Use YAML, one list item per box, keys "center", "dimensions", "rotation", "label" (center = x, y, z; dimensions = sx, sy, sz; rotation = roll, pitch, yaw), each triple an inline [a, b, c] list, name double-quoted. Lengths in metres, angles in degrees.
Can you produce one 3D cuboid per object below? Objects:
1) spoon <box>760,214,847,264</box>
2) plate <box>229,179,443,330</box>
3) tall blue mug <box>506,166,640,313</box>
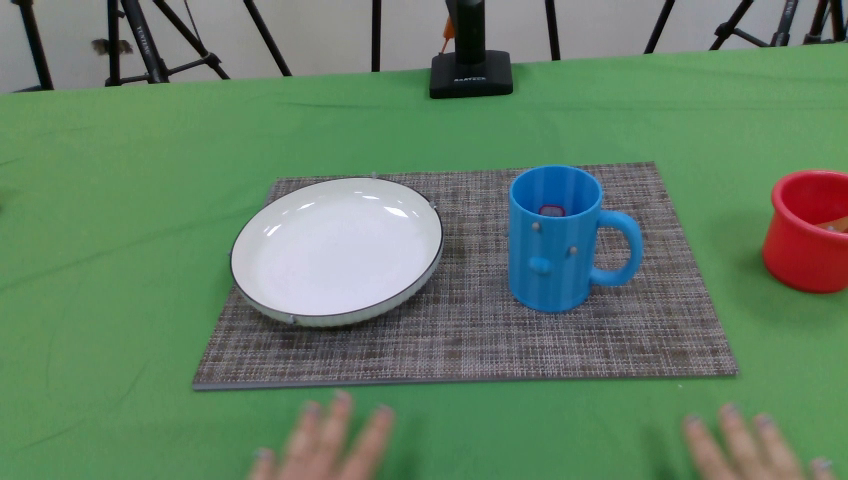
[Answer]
- center: [0.384, -0.026, 0.510]
  dimensions: [0.194, 0.022, 0.041]
  rotation: [-35, 25, 40]
  label: "spoon"
- center: [-0.083, 0.014, 0.600]
  dimensions: [0.207, 0.039, 0.205]
  rotation: [-3, 41, 3]
  label: "plate"
- center: [0.126, -0.001, 0.535]
  dimensions: [0.107, 0.109, 0.077]
  rotation: [-7, 40, 0]
  label: "tall blue mug"
